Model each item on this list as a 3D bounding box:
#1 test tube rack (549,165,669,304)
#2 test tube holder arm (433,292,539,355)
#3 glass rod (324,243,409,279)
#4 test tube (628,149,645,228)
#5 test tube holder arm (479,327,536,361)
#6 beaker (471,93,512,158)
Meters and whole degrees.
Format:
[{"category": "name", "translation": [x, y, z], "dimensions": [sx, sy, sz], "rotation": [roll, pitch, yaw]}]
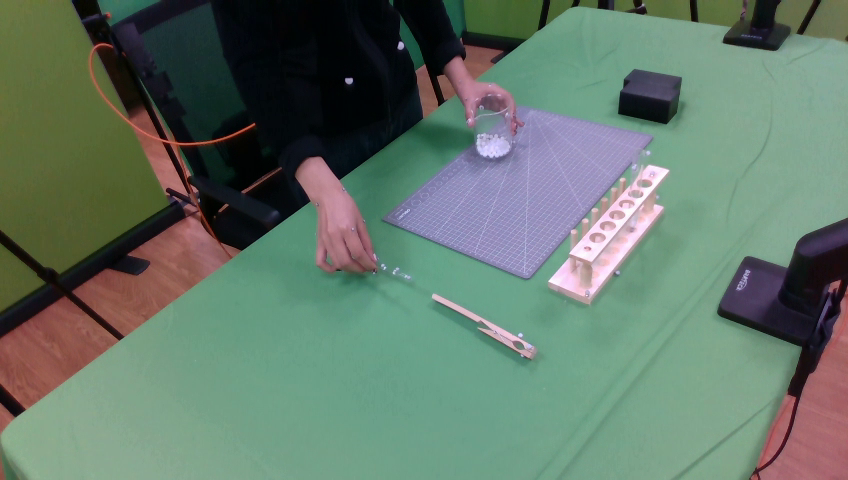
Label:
[{"category": "test tube rack", "translation": [0.279, -0.018, 0.902], "dimensions": [0.066, 0.085, 0.243], "rotation": [24, 50, 33]}, {"category": "test tube holder arm", "translation": [0.081, 0.113, 0.832], "dimensions": [0.177, 0.015, 0.013], "rotation": [28, 82, 36]}, {"category": "glass rod", "translation": [-0.095, 0.031, 0.946], "dimensions": [0.198, 0.008, 0.008], "rotation": [18, 47, 40]}, {"category": "test tube", "translation": [0.309, -0.071, 0.882], "dimensions": [0.017, 0.151, 0.017], "rotation": [-7, 47, 8]}, {"category": "test tube holder arm", "translation": [0.110, 0.134, 0.805], "dimensions": [0.087, 0.015, 0.010], "rotation": [29, 83, 36]}, {"category": "beaker", "translation": [0.125, -0.208, 1.120], "dimensions": [0.084, 0.101, 0.073], "rotation": [-37, 47, -27]}]
